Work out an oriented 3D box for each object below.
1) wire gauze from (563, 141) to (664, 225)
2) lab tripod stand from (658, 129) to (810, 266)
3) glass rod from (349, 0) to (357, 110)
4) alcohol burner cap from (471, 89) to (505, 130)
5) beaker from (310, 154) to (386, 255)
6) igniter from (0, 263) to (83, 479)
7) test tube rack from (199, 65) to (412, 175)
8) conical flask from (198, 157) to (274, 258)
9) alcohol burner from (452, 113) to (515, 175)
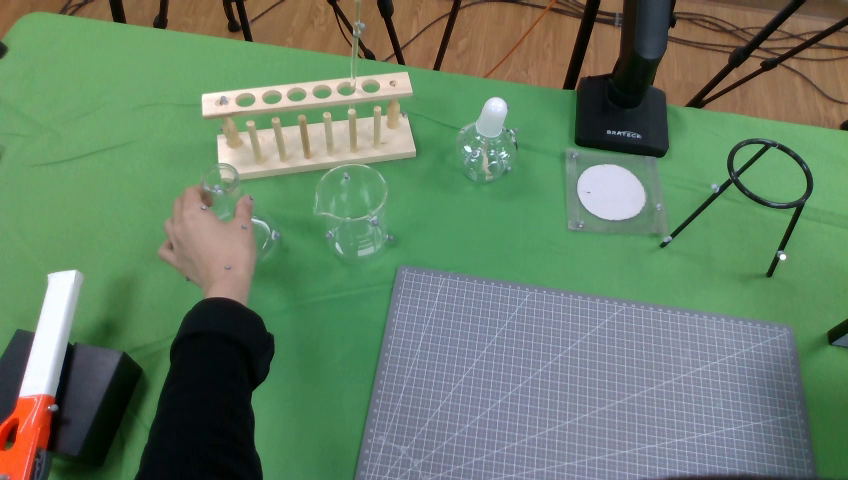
[{"bbox_3d":[0.236,-0.072,0.763,0.121,0.011,0.124,5,60,-2],"label":"wire gauze"},{"bbox_3d":[0.358,-0.047,0.684,0.148,0.132,0.147,2,60,-4],"label":"lab tripod stand"},{"bbox_3d":[-0.082,-0.202,0.698,0.008,0.201,0.008,4,59,-6],"label":"glass rod"},{"bbox_3d":[0.076,-0.154,0.699,0.034,0.048,0.033,6,61,-10],"label":"alcohol burner cap"},{"bbox_3d":[-0.082,-0.033,0.671,0.084,0.101,0.073,-29,65,-18],"label":"beaker"},{"bbox_3d":[-0.352,0.146,0.542,0.057,0.025,0.274,-8,60,5],"label":"igniter"},{"bbox_3d":[-0.138,-0.146,0.740,0.243,0.086,0.066,-9,62,-8],"label":"test tube rack"},{"bbox_3d":[-0.209,-0.039,0.654,0.075,0.123,0.074,1,59,-2],"label":"conical flask"},{"bbox_3d":[0.074,-0.134,0.729,0.078,0.120,0.077,2,58,-3],"label":"alcohol burner"}]
